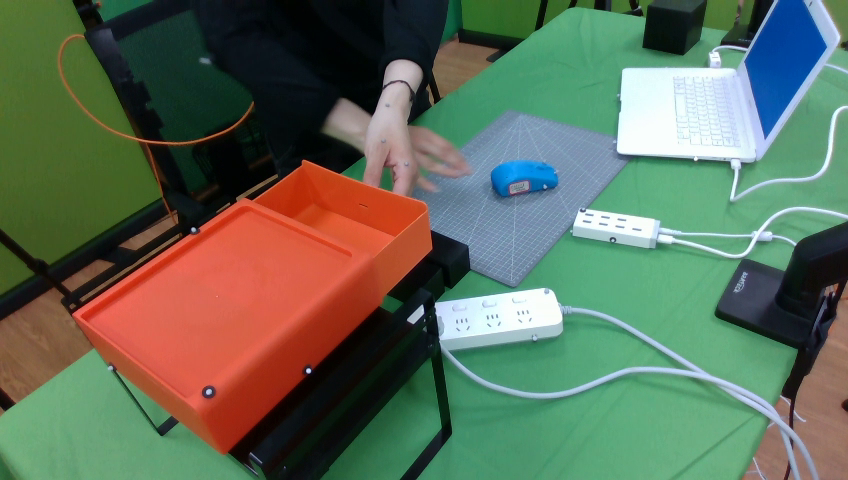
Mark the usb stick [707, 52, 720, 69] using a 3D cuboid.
[{"bbox_3d":[0.629,-0.382,1.313,0.021,0.027,0.059,3,46,16],"label":"usb stick"}]

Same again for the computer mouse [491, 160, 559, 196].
[{"bbox_3d":[0.177,-0.114,1.065,0.117,0.041,0.062,-8,39,-6],"label":"computer mouse"}]

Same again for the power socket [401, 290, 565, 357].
[{"bbox_3d":[0.081,0.112,0.822,0.227,0.033,0.072,-7,41,0],"label":"power socket"}]

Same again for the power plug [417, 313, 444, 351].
[{"bbox_3d":[0.006,0.127,0.786,0.035,0.053,0.072,1,43,9],"label":"power plug"}]

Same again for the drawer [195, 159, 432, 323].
[{"bbox_3d":[-0.129,0.013,0.654,0.193,0.073,0.212,22,48,30],"label":"drawer"}]

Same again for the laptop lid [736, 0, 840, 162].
[{"bbox_3d":[0.641,-0.327,1.090,0.013,0.242,0.356,16,43,5],"label":"laptop lid"}]

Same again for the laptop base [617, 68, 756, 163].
[{"bbox_3d":[0.509,-0.255,1.201,0.234,0.023,0.353,4,41,16],"label":"laptop base"}]

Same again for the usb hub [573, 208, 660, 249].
[{"bbox_3d":[0.301,-0.019,0.949,0.124,0.025,0.049,11,43,20],"label":"usb hub"}]

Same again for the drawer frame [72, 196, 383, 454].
[{"bbox_3d":[-0.185,0.067,0.597,0.200,0.083,0.214,22,49,30],"label":"drawer frame"}]
